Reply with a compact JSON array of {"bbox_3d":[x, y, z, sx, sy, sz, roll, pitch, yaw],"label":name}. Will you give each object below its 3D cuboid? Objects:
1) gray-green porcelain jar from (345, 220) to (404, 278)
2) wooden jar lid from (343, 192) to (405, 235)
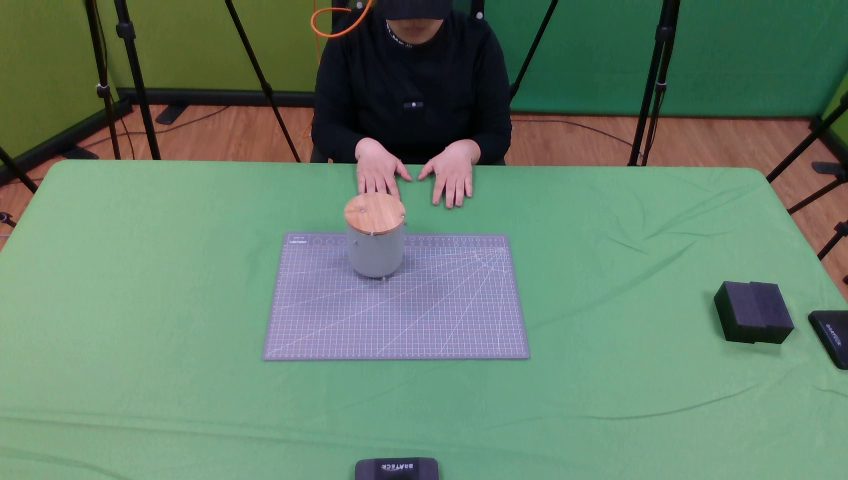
[{"bbox_3d":[-0.091,-0.001,1.117,0.106,0.127,0.105,2,46,-2],"label":"gray-green porcelain jar"},{"bbox_3d":[-0.088,-0.044,1.072,0.108,0.021,0.107,3,45,-3],"label":"wooden jar lid"}]
